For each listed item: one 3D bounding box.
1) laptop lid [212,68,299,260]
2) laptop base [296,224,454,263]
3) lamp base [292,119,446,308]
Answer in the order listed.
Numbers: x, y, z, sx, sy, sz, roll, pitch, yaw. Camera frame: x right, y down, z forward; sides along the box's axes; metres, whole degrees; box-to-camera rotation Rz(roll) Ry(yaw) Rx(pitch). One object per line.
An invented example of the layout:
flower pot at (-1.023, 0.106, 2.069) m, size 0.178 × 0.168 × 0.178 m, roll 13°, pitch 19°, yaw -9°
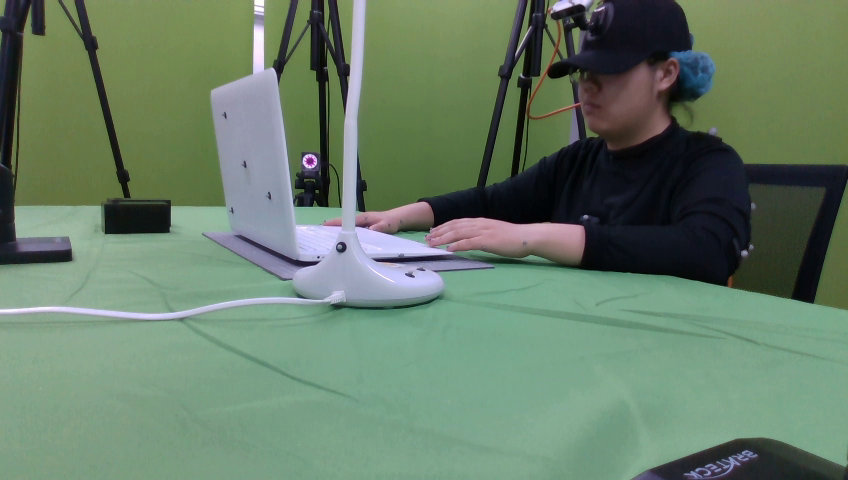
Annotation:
laptop lid at (-0.254, -0.110, 0.872) m, size 0.013 × 0.241 × 0.355 m, roll -11°, pitch 14°, yaw -29°
laptop base at (-0.143, 0.003, 0.957) m, size 0.237 × 0.023 × 0.352 m, roll 2°, pitch 6°, yaw -32°
lamp base at (-0.056, -0.030, 0.616) m, size 0.160 × 0.180 × 0.179 m, roll 4°, pitch 10°, yaw 8°
